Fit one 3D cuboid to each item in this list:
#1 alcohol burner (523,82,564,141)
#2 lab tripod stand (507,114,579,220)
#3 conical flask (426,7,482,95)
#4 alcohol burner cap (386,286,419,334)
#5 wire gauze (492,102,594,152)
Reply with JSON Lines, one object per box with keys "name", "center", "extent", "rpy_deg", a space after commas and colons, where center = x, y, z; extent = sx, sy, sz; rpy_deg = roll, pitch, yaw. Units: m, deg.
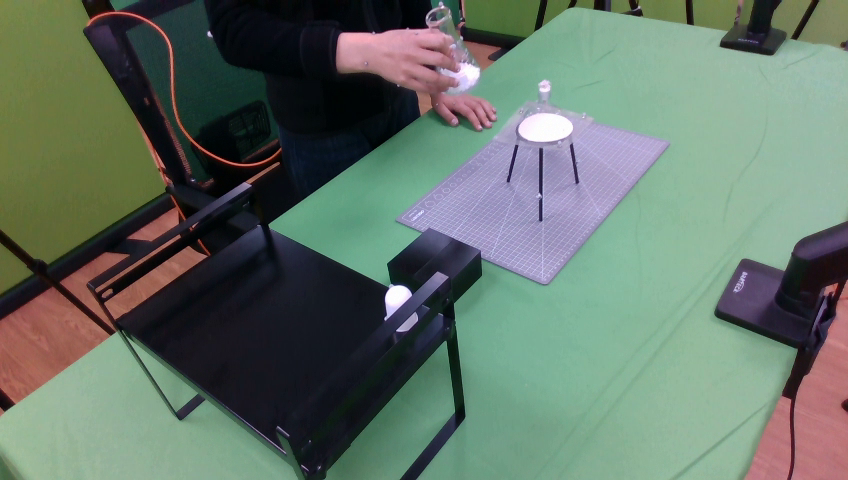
{"name": "alcohol burner", "center": [0.230, -0.251, 1.161], "extent": [0.078, 0.119, 0.077], "rpy_deg": [-4, 43, 4]}
{"name": "lab tripod stand", "center": [0.199, -0.128, 1.005], "extent": [0.148, 0.132, 0.147], "rpy_deg": [-3, 42, 3]}
{"name": "conical flask", "center": [0.038, -0.284, 0.904], "extent": [0.075, 0.123, 0.075], "rpy_deg": [-10, 52, 14]}
{"name": "alcohol burner cap", "center": [-0.024, 0.067, 0.604], "extent": [0.034, 0.048, 0.033], "rpy_deg": [-4, 39, 4]}
{"name": "wire gauze", "center": [0.191, -0.180, 0.964], "extent": [0.120, 0.011, 0.125], "rpy_deg": [19, 48, 28]}
